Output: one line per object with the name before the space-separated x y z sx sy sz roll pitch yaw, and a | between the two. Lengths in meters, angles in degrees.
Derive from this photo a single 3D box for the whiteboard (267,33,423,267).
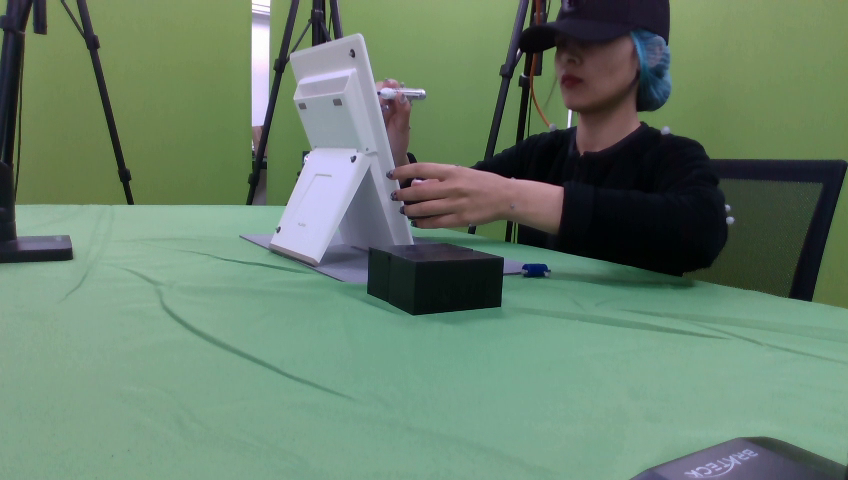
whiteboard | -0.153 -0.098 0.818 0.144 0.305 0.216 -25 21 -29

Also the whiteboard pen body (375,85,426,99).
whiteboard pen body | -0.032 -0.205 0.837 0.017 0.017 0.141 5 13 25

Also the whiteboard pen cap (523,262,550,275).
whiteboard pen cap | 0.145 0.037 0.776 0.033 0.018 0.018 1 6 -30
